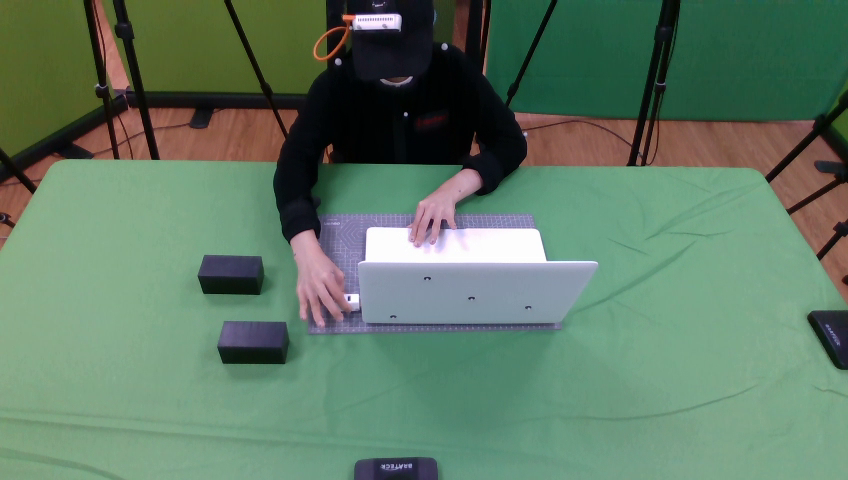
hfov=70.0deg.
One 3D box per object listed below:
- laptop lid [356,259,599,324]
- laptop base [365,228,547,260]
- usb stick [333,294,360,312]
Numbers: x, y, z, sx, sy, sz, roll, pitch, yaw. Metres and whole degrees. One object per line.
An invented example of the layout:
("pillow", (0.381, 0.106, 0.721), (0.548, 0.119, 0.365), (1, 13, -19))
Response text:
("laptop lid", (0.074, 0.087, 0.959), (0.357, 0.242, 0.013), (1, 60, -5))
("laptop base", (0.064, 0.062, 1.144), (0.354, 0.023, 0.234), (0, 42, -4))
("usb stick", (-0.130, 0.111, 1.066), (0.059, 0.027, 0.021), (0, 46, -6))
